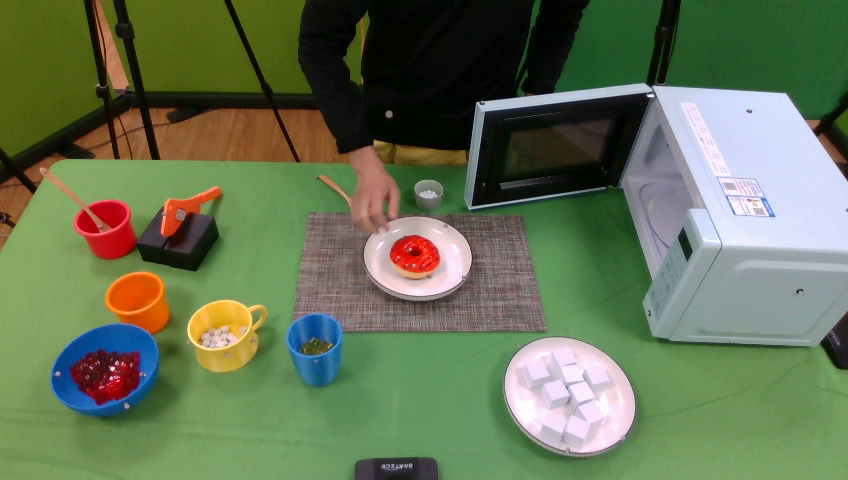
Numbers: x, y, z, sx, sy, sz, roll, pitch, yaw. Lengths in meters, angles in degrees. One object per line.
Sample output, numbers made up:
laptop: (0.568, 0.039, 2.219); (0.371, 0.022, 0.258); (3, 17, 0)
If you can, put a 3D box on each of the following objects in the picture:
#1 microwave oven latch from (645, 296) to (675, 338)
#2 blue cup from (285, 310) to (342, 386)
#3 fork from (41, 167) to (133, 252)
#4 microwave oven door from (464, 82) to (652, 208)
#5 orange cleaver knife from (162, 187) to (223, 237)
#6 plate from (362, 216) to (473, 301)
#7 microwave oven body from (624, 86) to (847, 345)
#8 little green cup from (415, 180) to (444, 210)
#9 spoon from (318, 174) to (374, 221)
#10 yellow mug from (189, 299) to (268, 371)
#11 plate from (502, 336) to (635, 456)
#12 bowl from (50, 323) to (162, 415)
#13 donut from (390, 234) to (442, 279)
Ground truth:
microwave oven latch: (0.412, 0.134, 1.061); (0.030, 0.029, 0.078); (3, 45, 0)
blue cup: (-0.170, 0.179, 0.958); (0.093, 0.101, 0.092); (2, 44, -1)
fork: (-0.624, -0.056, 1.121); (0.208, 0.018, 0.028); (49, 51, -15)
microwave oven door: (0.264, -0.188, 1.221); (0.356, 0.245, 0.039); (-9, 47, -13)
orange cleaver knife: (-0.448, -0.058, 1.181); (0.012, 0.077, 0.211); (13, 17, 6)
plate: (-0.012, 0.038, 1.145); (0.209, 0.038, 0.208); (2, 46, -2)
microwave oven body: (0.568, -0.053, 1.118); (0.326, 0.261, 0.439); (2, 45, -1)
little green cup: (0.010, -0.094, 1.278); (0.061, 0.039, 0.061); (2, 47, -2)
spoon: (-0.168, -0.094, 1.274); (0.041, 0.022, 0.192); (-38, 56, -15)
yellow mug: (-0.316, 0.148, 1.002); (0.131, 0.064, 0.099); (-32, 56, -31)
plate: (0.225, 0.248, 0.964); (0.208, 0.039, 0.206); (2, 46, -2)
bowl: (-0.472, 0.209, 0.924); (0.151, 0.077, 0.150); (3, 45, -2)
donut: (-0.016, 0.031, 1.135); (0.099, 0.048, 0.098); (4, 45, -3)
